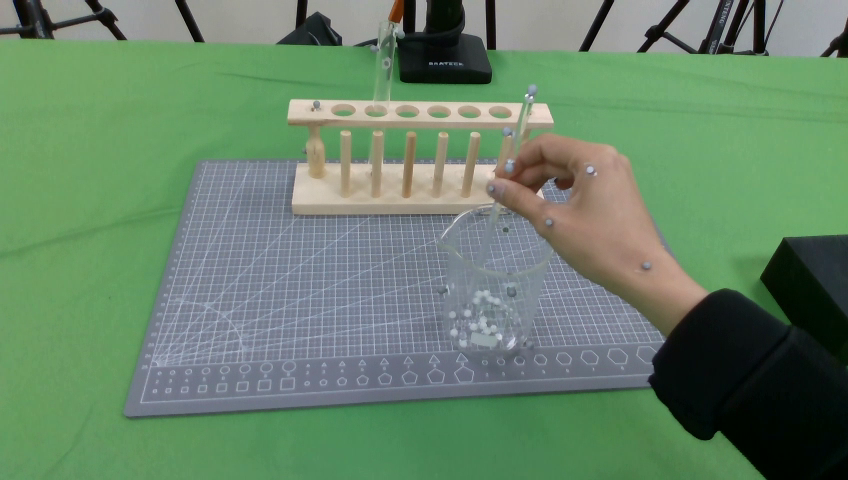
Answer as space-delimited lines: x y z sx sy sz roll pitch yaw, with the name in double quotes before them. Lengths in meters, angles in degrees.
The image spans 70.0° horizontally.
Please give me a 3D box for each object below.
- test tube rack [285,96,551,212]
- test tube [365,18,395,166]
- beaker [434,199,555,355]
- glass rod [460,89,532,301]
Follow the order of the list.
"test tube rack" -0.005 -0.081 0.576 0.243 0.086 0.066 0 44 -6
"test tube" -0.041 -0.127 0.548 0.017 0.151 0.017 6 45 -5
"beaker" 0.047 0.031 0.450 0.084 0.101 0.073 0 43 -3
"glass rod" 0.046 -0.019 0.427 0.008 0.201 0.008 6 46 -6
